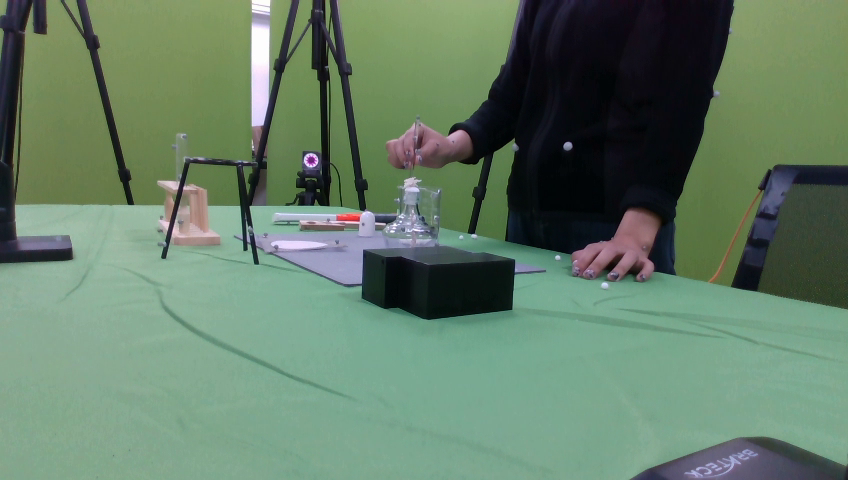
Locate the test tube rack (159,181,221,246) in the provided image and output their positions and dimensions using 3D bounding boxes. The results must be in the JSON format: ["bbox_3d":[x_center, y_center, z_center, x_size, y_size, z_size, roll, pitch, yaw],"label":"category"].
[{"bbox_3d":[-0.395,-0.050,1.010,0.067,0.085,0.241,-2,8,-28],"label":"test tube rack"}]

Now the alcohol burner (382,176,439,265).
[{"bbox_3d":[-0.018,-0.026,0.818,0.078,0.119,0.078,3,10,0],"label":"alcohol burner"}]

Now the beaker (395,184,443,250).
[{"bbox_3d":[-0.007,-0.037,0.965,0.074,0.100,0.083,-4,11,-40],"label":"beaker"}]

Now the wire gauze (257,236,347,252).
[{"bbox_3d":[-0.189,0.006,0.931,0.122,0.011,0.124,1,7,-21],"label":"wire gauze"}]

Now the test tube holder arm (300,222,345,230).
[{"bbox_3d":[-0.196,-0.027,1.170,0.088,0.015,0.010,-1,43,-28],"label":"test tube holder arm"}]

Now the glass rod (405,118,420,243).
[{"bbox_3d":[-0.019,-0.093,0.957,0.008,0.199,0.008,5,8,0],"label":"glass rod"}]

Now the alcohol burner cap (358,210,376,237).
[{"bbox_3d":[-0.104,-0.030,1.098,0.034,0.048,0.034,2,7,0],"label":"alcohol burner cap"}]

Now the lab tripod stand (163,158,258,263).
[{"bbox_3d":[-0.265,-0.041,0.802,0.148,0.131,0.148,4,7,0],"label":"lab tripod stand"}]

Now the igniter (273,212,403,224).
[{"bbox_3d":[-0.179,-0.048,1.290,0.278,0.025,0.057,-1,-2,-24],"label":"igniter"}]

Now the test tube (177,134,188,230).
[{"bbox_3d":[-0.374,-0.089,0.938,0.017,0.150,0.017,2,4,0],"label":"test tube"}]

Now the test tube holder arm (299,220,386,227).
[{"bbox_3d":[-0.158,-0.032,1.195,0.179,0.015,0.013,-2,44,-29],"label":"test tube holder arm"}]
